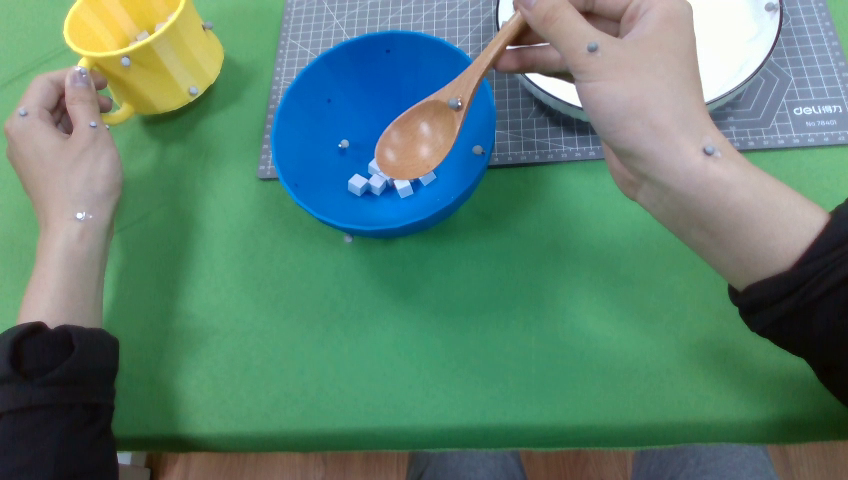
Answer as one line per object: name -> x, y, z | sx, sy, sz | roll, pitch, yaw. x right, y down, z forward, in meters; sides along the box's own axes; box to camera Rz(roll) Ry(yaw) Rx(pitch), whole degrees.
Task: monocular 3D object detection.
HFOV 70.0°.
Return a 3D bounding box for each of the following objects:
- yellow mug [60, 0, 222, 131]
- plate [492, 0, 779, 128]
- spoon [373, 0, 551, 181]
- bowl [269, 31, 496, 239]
yellow mug -> -0.230, -0.144, 0.480 | 0.099, 0.064, 0.130 | 17, 66, 19
plate -> 0.157, -0.169, 0.470 | 0.209, 0.038, 0.207 | -3, 65, 7
spoon -> 0.042, -0.106, 0.331 | 0.194, 0.022, 0.041 | -47, 69, 16
bowl -> -0.023, -0.061, 0.426 | 0.151, 0.077, 0.150 | -3, 69, 8
